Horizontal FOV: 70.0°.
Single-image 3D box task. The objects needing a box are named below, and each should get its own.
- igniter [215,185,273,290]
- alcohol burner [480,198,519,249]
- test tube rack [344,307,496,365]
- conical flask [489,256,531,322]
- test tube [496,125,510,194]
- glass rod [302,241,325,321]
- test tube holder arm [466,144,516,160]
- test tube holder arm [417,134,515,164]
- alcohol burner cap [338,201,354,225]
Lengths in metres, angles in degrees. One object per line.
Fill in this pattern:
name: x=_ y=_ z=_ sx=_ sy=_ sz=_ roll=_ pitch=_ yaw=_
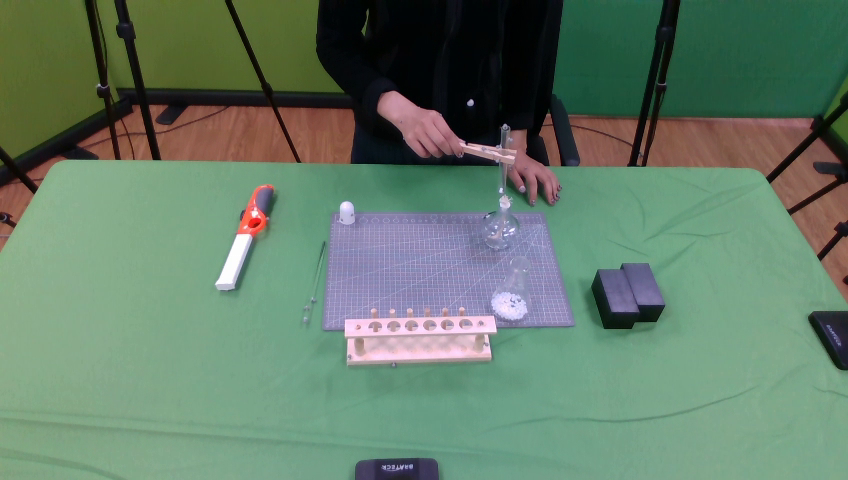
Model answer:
igniter: x=-0.347 y=-0.014 z=1.182 sx=0.057 sy=0.025 sz=0.275 roll=-1 pitch=45 yaw=8
alcohol burner: x=0.150 y=-0.038 z=1.182 sx=0.078 sy=0.119 sz=0.077 roll=3 pitch=47 yaw=-4
test tube rack: x=-0.009 y=0.154 z=1.007 sx=0.242 sy=0.085 sz=0.066 roll=-1 pitch=46 yaw=-5
conical flask: x=0.158 y=0.081 z=1.061 sx=0.075 sy=0.122 sz=0.075 roll=2 pitch=46 yaw=-2
test tube: x=0.138 y=-0.138 z=1.062 sx=0.017 sy=0.151 sz=0.017 roll=-1 pitch=49 yaw=2
glass rod: x=-0.203 y=0.072 z=1.124 sx=0.008 sy=0.008 sz=0.198 roll=4 pitch=43 yaw=1
test tube holder arm: x=0.116 y=-0.155 z=1.059 sx=0.088 sy=0.015 sz=0.010 roll=10 pitch=46 yaw=9
test tube holder arm: x=0.072 y=-0.161 z=1.065 sx=0.178 sy=0.015 sz=0.013 roll=15 pitch=46 yaw=13
alcohol burner cap: x=-0.159 y=-0.056 z=1.224 sx=0.034 sy=0.048 sz=0.033 roll=2 pitch=47 yaw=-2
